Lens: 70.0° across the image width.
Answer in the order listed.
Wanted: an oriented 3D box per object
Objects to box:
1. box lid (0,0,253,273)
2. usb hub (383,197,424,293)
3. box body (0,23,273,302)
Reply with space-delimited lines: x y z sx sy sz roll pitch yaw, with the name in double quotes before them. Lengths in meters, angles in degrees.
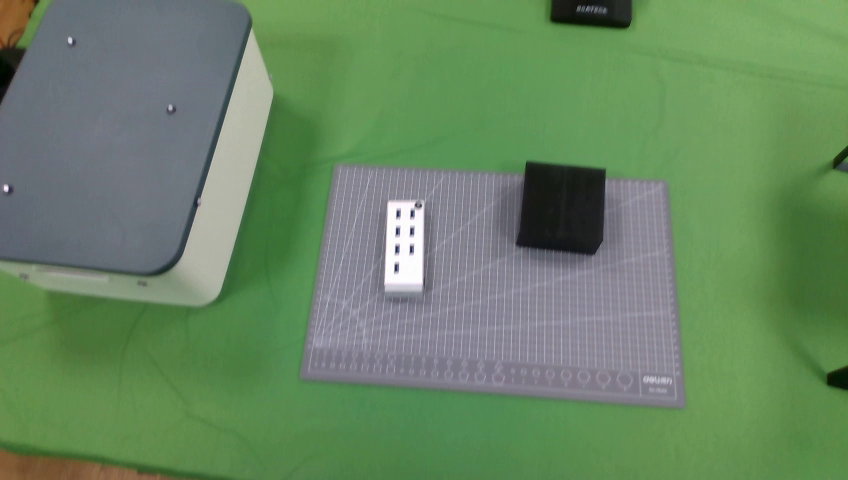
"box lid" -0.359 -0.143 0.688 0.263 0.015 0.369 6 68 4
"usb hub" -0.025 0.005 0.768 0.049 0.025 0.124 0 68 2
"box body" -0.356 -0.116 0.757 0.254 0.161 0.361 6 68 4
